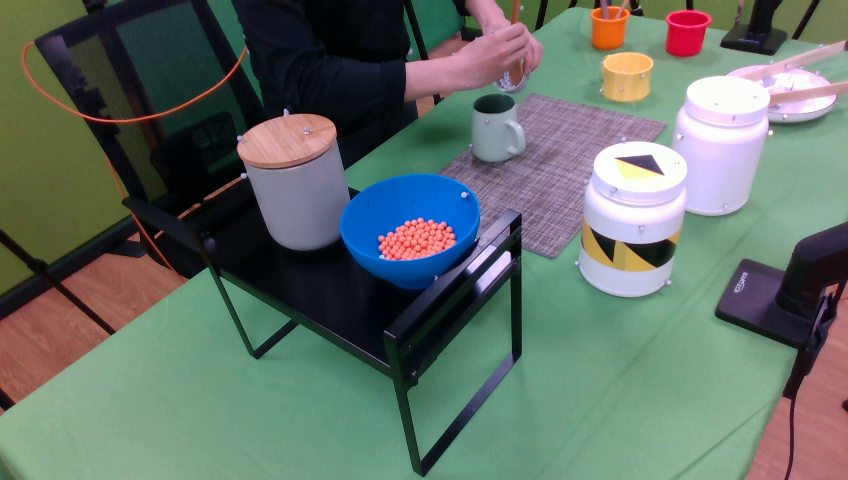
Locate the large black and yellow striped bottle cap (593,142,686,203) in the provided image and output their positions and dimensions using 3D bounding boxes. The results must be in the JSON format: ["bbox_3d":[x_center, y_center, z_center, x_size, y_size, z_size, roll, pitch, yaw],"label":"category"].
[{"bbox_3d":[0.280,-0.090,0.786,0.115,0.019,0.114,-5,41,5],"label":"large black and yellow striped bottle cap"}]

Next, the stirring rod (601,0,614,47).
[{"bbox_3d":[0.439,-0.552,1.463,0.014,0.006,0.175,-7,83,3],"label":"stirring rod"}]

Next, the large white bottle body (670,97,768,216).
[{"bbox_3d":[0.458,-0.146,0.952,0.130,0.185,0.130,-4,40,4],"label":"large white bottle body"}]

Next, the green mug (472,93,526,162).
[{"bbox_3d":[0.144,-0.202,1.122,0.093,0.105,0.124,-29,45,-23],"label":"green mug"}]

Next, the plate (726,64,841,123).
[{"bbox_3d":[0.695,-0.282,1.189,0.207,0.039,0.206,-4,40,4],"label":"plate"}]

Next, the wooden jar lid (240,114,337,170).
[{"bbox_3d":[-0.149,-0.106,0.673,0.108,0.021,0.108,-6,39,5],"label":"wooden jar lid"}]

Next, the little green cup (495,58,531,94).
[{"bbox_3d":[0.164,-0.298,1.109,0.039,0.061,0.061,6,27,-41],"label":"little green cup"}]

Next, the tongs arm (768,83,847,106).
[{"bbox_3d":[0.738,-0.281,1.134,0.388,0.028,0.028,-9,47,-5],"label":"tongs arm"}]

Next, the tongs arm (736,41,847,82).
[{"bbox_3d":[0.712,-0.332,1.194,0.386,0.026,0.050,-19,45,-16],"label":"tongs arm"}]

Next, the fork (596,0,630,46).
[{"bbox_3d":[0.481,-0.556,1.452,0.028,0.019,0.207,40,103,38],"label":"fork"}]

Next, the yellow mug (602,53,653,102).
[{"bbox_3d":[0.423,-0.354,1.292,0.100,0.064,0.129,-23,42,-16],"label":"yellow mug"}]

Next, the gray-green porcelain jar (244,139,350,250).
[{"bbox_3d":[-0.143,-0.060,0.714,0.106,0.127,0.105,-4,41,4],"label":"gray-green porcelain jar"}]

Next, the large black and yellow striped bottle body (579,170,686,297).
[{"bbox_3d":[0.287,-0.027,0.841,0.131,0.185,0.130,-4,40,4],"label":"large black and yellow striped bottle body"}]

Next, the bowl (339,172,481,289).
[{"bbox_3d":[-0.011,0.001,0.660,0.151,0.077,0.150,-5,41,5],"label":"bowl"}]

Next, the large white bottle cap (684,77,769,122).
[{"bbox_3d":[0.448,-0.209,0.898,0.115,0.018,0.114,-4,40,4],"label":"large white bottle cap"}]

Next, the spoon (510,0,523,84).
[{"bbox_3d":[0.155,-0.337,1.023,0.021,0.195,0.041,-23,61,-1],"label":"spoon"}]
